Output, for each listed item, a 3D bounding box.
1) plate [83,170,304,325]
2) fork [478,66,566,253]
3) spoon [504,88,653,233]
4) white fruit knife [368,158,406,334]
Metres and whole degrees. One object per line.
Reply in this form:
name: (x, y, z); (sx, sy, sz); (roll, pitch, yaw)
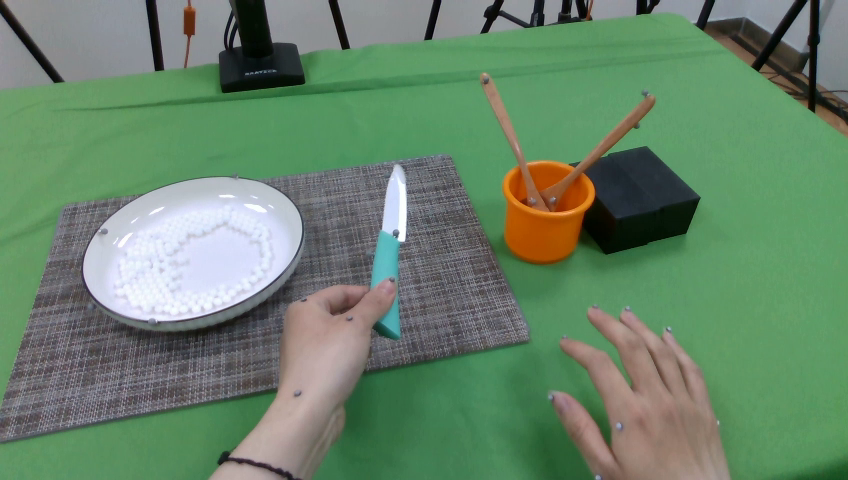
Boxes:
plate: (-0.222, 0.006, 0.605); (0.209, 0.038, 0.207); (0, 43, 0)
fork: (0.098, -0.084, 0.626); (0.028, 0.018, 0.207); (-22, 92, -7)
spoon: (0.157, -0.078, 0.615); (0.041, 0.194, 0.021); (47, 21, 6)
white fruit knife: (-0.031, -0.006, 0.539); (0.027, 0.016, 0.205); (9, 47, -8)
